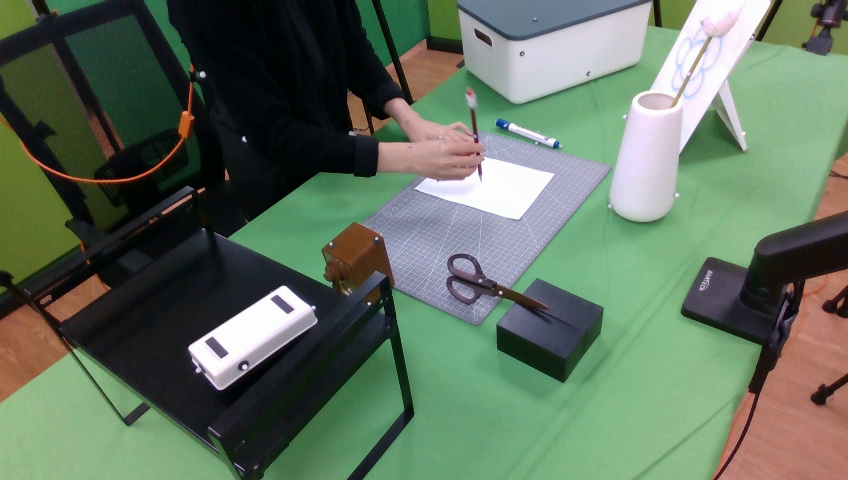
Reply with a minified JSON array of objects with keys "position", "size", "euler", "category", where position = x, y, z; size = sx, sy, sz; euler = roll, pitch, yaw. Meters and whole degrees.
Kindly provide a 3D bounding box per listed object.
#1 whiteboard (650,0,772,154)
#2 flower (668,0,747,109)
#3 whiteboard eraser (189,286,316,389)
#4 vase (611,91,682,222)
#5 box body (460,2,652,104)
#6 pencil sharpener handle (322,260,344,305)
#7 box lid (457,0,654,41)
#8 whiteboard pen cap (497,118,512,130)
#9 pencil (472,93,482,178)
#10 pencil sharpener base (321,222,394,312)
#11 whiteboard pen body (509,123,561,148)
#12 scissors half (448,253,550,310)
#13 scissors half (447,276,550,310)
[{"position":[0.543,-0.298,1.076],"size":[0.144,0.305,0.216],"euler":[12,40,-7],"category":"whiteboard"},{"position":[0.354,-0.187,0.879],"size":[0.038,0.362,0.044],"euler":[30,48,14],"category":"flower"},{"position":[-0.166,0.096,0.593],"size":[0.113,0.042,0.055],"euler":[-36,47,-29],"category":"whiteboard eraser"},{"position":[0.348,-0.125,0.935],"size":[0.098,0.201,0.097],"euler":[-3,40,3],"category":"vase"},{"position":[0.291,-0.465,1.371],"size":[0.365,0.161,0.252],"euler":[-22,42,-16],"category":"box body"},{"position":[-0.131,0.061,0.839],"size":[0.035,0.068,0.031],"euler":[29,56,27],"category":"pencil sharpener handle"},{"position":[0.285,-0.522,1.323],"size":[0.373,0.015,0.261],"euler":[-22,43,-16],"category":"box lid"},{"position":[0.165,-0.235,1.227],"size":[0.033,0.018,0.018],"euler":[31,53,31],"category":"whiteboard pen cap"},{"position":[0.087,-0.163,0.980],"size":[0.012,0.195,0.012],"euler":[-3,55,5],"category":"pencil"},{"position":[-0.096,0.041,0.873],"size":[0.061,0.107,0.077],"euler":[25,54,32],"category":"pencil sharpener base"},{"position":[0.208,-0.211,1.196],"size":[0.139,0.017,0.017],"euler":[30,52,33],"category":"whiteboard pen body"},{"position":[0.098,0.058,0.821],"size":[0.173,0.040,0.013],"euler":[27,33,37],"category":"scissors half"},{"position":[0.098,0.077,0.827],"size":[0.174,0.040,0.013],"euler":[6,14,45],"category":"scissors half"}]
